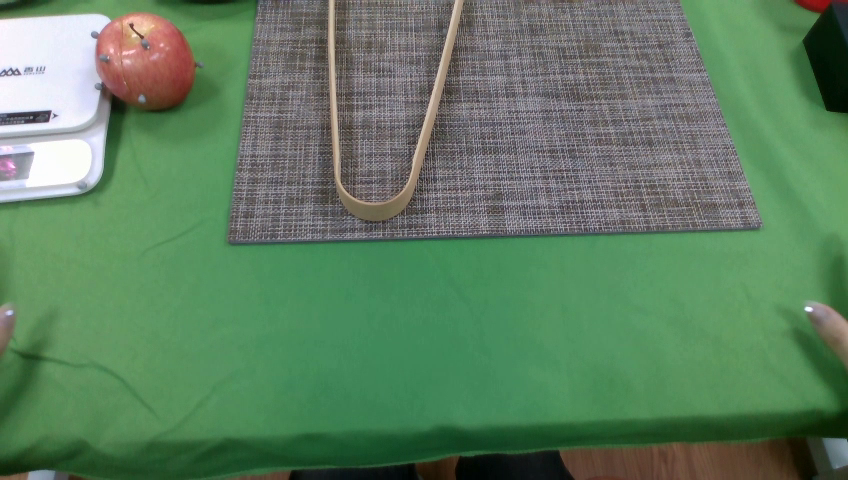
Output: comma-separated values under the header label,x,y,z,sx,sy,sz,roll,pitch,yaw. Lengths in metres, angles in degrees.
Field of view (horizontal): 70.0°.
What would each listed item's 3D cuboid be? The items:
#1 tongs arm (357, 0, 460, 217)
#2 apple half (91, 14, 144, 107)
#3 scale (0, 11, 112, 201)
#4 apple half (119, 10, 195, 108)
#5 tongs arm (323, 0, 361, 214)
label,x,y,z,sx,sy,sz,roll,pitch,yaw
tongs arm,0.001,-0.188,0.587,0.051,0.027,0.382,9,61,2
apple half,-0.273,-0.154,0.537,0.033,0.082,0.080,-10,61,-10
scale,-0.359,-0.125,0.542,0.149,0.032,0.199,-6,61,-5
apple half,-0.235,-0.161,0.544,0.053,0.075,0.080,-10,57,-10
tongs arm,-0.084,-0.193,0.588,0.028,0.028,0.384,-2,61,-8
